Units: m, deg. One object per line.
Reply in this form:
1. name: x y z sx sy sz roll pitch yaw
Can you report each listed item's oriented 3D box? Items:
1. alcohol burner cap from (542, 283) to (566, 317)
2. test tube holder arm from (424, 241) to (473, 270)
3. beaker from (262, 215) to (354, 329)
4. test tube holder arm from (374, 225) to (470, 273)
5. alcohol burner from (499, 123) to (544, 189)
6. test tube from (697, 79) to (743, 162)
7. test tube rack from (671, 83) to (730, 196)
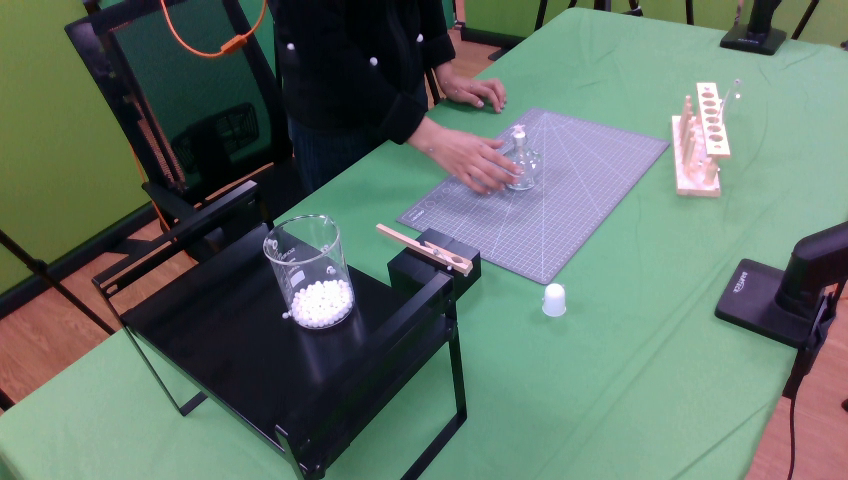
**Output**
1. alcohol burner cap: 0.181 0.081 0.840 0.034 0.048 0.033 -3 40 3
2. test tube holder arm: 0.032 0.023 0.872 0.087 0.015 0.010 22 49 32
3. beaker: -0.112 0.034 0.616 0.073 0.101 0.084 13 44 23
4. test tube holder arm: -0.007 0.012 0.893 0.177 0.015 0.013 21 48 31
5. alcohol burner: 0.168 -0.149 1.048 0.078 0.119 0.077 -5 41 5
6. test tube: 0.486 -0.194 0.998 0.017 0.150 0.017 5 40 -4
7. test tube rack: 0.482 -0.184 1.067 0.066 0.085 0.242 5 42 15
